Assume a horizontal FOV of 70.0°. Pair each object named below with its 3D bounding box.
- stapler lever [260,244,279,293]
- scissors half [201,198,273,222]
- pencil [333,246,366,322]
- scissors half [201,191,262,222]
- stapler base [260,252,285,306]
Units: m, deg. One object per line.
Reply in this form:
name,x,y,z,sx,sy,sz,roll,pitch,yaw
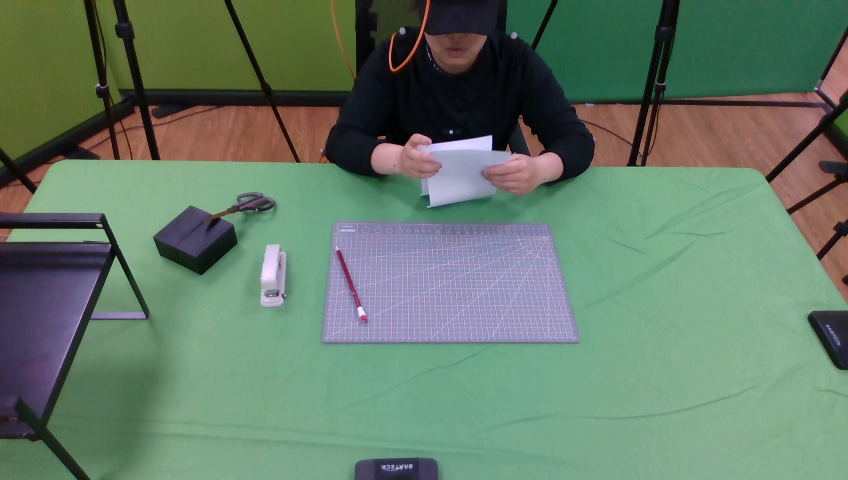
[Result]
stapler lever,-0.279,0.045,1.096,0.027,0.040,0.117,-2,44,-9
scissors half,-0.364,-0.056,1.192,0.040,0.013,0.175,38,32,23
pencil,-0.140,0.077,1.116,0.012,0.012,0.192,-14,48,-17
scissors half,-0.381,-0.066,1.198,0.040,0.013,0.175,24,28,10
stapler base,-0.279,0.064,1.113,0.041,0.024,0.129,-2,44,-9
